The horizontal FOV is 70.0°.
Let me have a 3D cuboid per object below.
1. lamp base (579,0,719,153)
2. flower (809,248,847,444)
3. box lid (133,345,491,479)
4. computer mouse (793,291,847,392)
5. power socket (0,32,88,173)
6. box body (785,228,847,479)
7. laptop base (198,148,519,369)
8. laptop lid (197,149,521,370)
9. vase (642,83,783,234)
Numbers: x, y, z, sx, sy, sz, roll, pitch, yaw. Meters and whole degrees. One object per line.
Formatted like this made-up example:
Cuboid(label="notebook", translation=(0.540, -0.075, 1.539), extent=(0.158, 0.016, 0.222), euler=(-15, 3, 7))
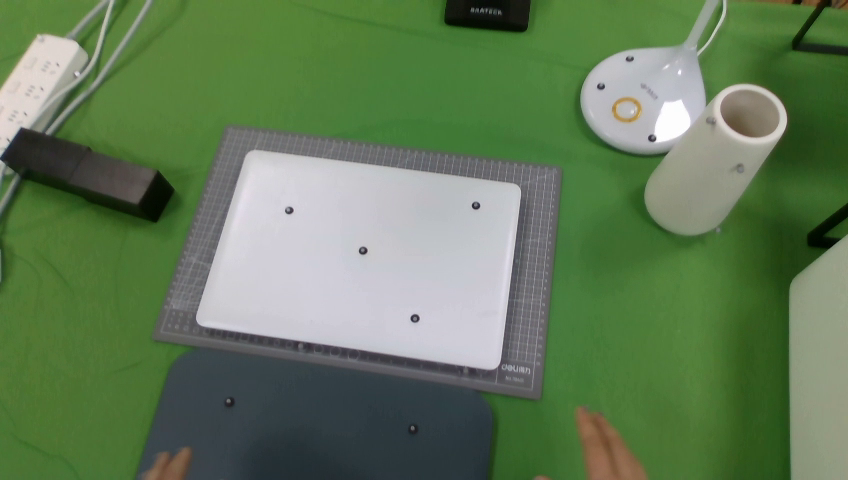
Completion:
Cuboid(label="lamp base", translation=(0.291, -0.224, 0.732), extent=(0.159, 0.181, 0.179), euler=(41, 72, 16))
Cuboid(label="flower", translation=(0.434, 0.186, 0.616), extent=(0.044, 0.038, 0.360), euler=(12, 73, -41))
Cuboid(label="box lid", translation=(-0.126, 0.261, 0.637), extent=(0.371, 0.015, 0.261), euler=(8, 68, 5))
Cuboid(label="computer mouse", translation=(0.448, 0.107, 0.661), extent=(0.063, 0.041, 0.116), euler=(4, 59, 7))
Cuboid(label="power socket", translation=(-0.537, -0.189, 0.819), extent=(0.072, 0.033, 0.225), euler=(16, 68, 7))
Cuboid(label="box body", translation=(0.501, 0.182, 0.568), extent=(0.254, 0.161, 0.361), euler=(10, 68, 6))
Cuboid(label="laptop base", translation=(-0.072, 0.015, 0.730), extent=(0.354, 0.023, 0.234), euler=(8, 72, 5))
Cuboid(label="laptop lid", translation=(-0.073, 0.013, 0.718), extent=(0.356, 0.013, 0.240), euler=(9, 70, 6))
Cuboid(label="vase", translation=(0.309, -0.084, 0.664), extent=(0.098, 0.201, 0.097), euler=(-1, 66, 3))
